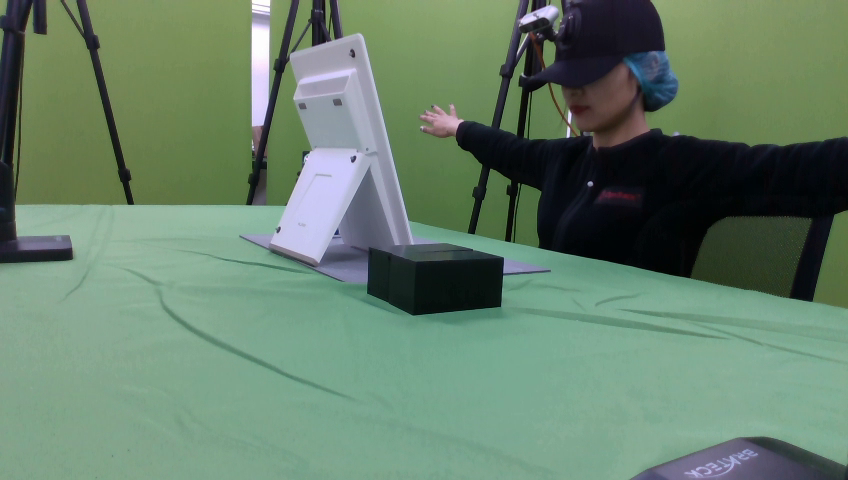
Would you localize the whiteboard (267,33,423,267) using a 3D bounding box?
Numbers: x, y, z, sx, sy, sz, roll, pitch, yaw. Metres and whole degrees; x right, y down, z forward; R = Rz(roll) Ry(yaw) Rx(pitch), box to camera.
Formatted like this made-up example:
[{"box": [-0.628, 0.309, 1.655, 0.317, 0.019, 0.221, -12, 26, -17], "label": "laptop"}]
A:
[{"box": [-0.153, -0.098, 0.819, 0.144, 0.305, 0.216, -25, 21, -29], "label": "whiteboard"}]

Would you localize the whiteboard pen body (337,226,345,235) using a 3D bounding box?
[{"box": [-0.115, -0.017, 1.083, 0.141, 0.017, 0.017, 0, 7, -34], "label": "whiteboard pen body"}]

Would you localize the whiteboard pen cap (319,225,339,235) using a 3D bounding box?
[{"box": [-0.164, -0.017, 1.050, 0.033, 0.018, 0.018, 1, 6, -34], "label": "whiteboard pen cap"}]
